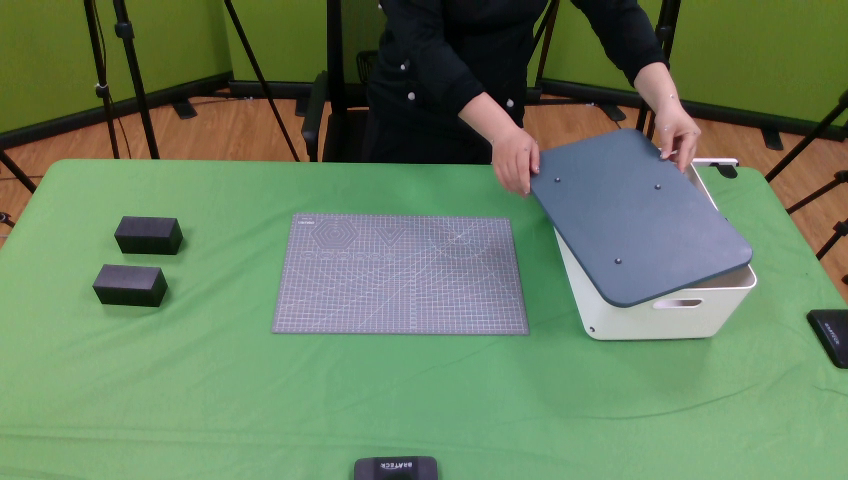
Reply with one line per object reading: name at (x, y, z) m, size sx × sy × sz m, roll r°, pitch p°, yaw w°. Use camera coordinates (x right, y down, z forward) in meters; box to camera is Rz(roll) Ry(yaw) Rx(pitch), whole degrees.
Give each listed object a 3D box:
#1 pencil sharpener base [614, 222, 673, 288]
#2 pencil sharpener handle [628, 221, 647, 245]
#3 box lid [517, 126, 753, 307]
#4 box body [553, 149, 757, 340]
pencil sharpener base at (0.407, 0.027, 1.134) m, size 0.061 × 0.107 × 0.076 m, roll -4°, pitch 44°, yaw -9°
pencil sharpener handle at (0.407, -0.019, 1.161) m, size 0.036 × 0.068 × 0.030 m, roll -25°, pitch 44°, yaw 12°
box lid at (0.348, -0.057, 1.044) m, size 0.263 × 0.015 × 0.369 m, roll -17°, pitch 50°, yaw -9°
box body at (0.395, 0.003, 1.127) m, size 0.254 × 0.161 × 0.361 m, roll -1°, pitch 46°, yaw -5°
